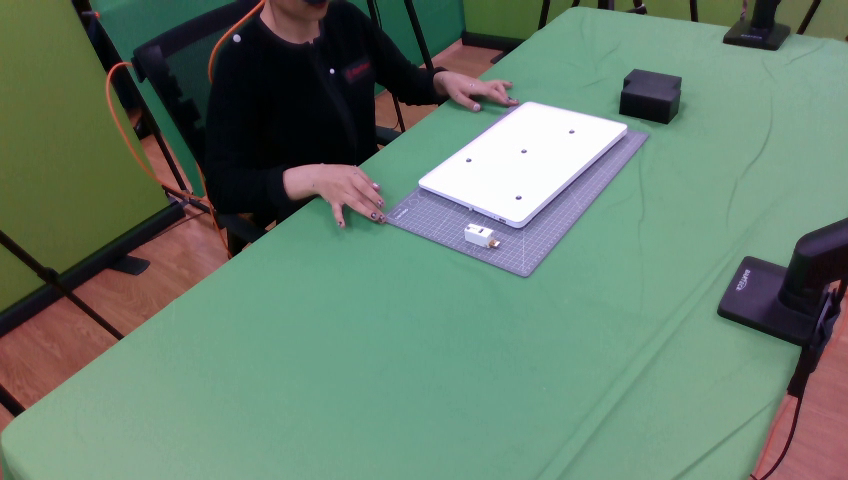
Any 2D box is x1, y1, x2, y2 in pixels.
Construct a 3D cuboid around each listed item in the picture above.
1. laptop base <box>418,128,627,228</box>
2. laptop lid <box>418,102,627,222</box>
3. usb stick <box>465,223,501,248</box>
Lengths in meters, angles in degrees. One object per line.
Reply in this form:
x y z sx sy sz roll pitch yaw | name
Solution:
0.189 -0.151 1.127 0.233 0.023 0.355 24 50 37 | laptop base
0.185 -0.161 1.121 0.239 0.013 0.358 26 51 37 | laptop lid
0.095 -0.005 0.962 0.059 0.027 0.021 23 49 29 | usb stick
